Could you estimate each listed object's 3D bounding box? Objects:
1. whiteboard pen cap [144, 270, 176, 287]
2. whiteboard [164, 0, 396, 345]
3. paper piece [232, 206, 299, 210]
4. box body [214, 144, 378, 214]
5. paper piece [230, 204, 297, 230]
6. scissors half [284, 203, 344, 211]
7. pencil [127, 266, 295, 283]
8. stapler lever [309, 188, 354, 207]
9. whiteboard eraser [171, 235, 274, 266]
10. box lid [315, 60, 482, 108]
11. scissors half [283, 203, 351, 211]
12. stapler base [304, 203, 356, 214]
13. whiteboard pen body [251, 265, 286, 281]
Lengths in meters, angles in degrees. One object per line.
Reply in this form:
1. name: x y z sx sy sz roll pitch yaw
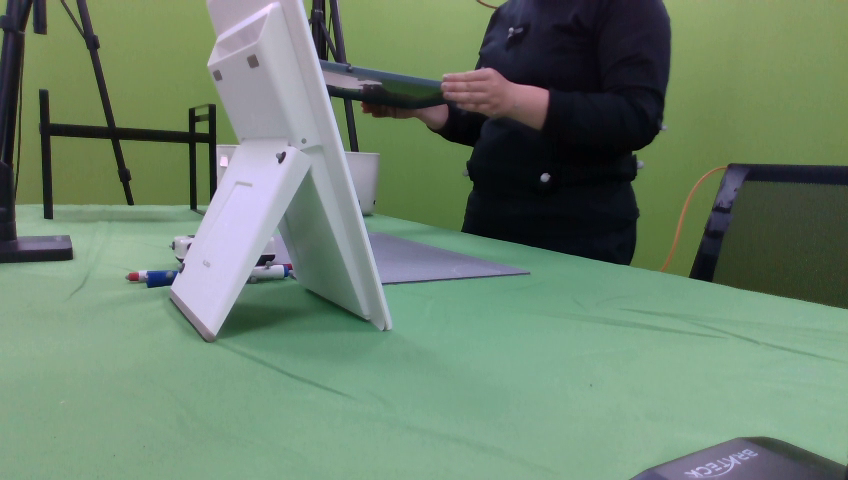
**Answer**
1. whiteboard pen cap: -0.271 0.039 0.627 0.033 0.018 0.018 -3 10 -32
2. whiteboard: -0.173 -0.053 0.511 0.144 0.305 0.216 -23 19 -26
3. paper piece: -0.388 -0.079 1.466 0.136 0.004 0.135 -2 7 -30
4. box body: -0.328 -0.154 1.543 0.366 0.160 0.253 -2 9 -32
5. paper piece: -0.392 -0.059 1.468 0.139 0.008 0.135 -8 28 -26
6. scissors half: -0.281 -0.083 1.552 0.176 0.013 0.040 -9 6 -44
7. pencil: -0.231 0.037 0.690 0.195 0.012 0.012 -2 9 -34
8. stapler lever: -0.231 -0.106 1.509 0.119 0.040 0.026 3 9 -35
9. whiteboard eraser: -0.248 0.014 0.747 0.113 0.042 0.055 -2 10 -32
10. box lid: -0.109 -0.271 1.081 0.373 0.015 0.262 1 5 -33
11. scissors half: -0.269 -0.081 1.534 0.176 0.013 0.040 -6 10 -23
12. stapler base: -0.235 -0.081 1.510 0.131 0.024 0.041 2 9 -35
13. whiteboard pen body: -0.219 0.039 0.656 0.141 0.017 0.017 -2 9 -31
